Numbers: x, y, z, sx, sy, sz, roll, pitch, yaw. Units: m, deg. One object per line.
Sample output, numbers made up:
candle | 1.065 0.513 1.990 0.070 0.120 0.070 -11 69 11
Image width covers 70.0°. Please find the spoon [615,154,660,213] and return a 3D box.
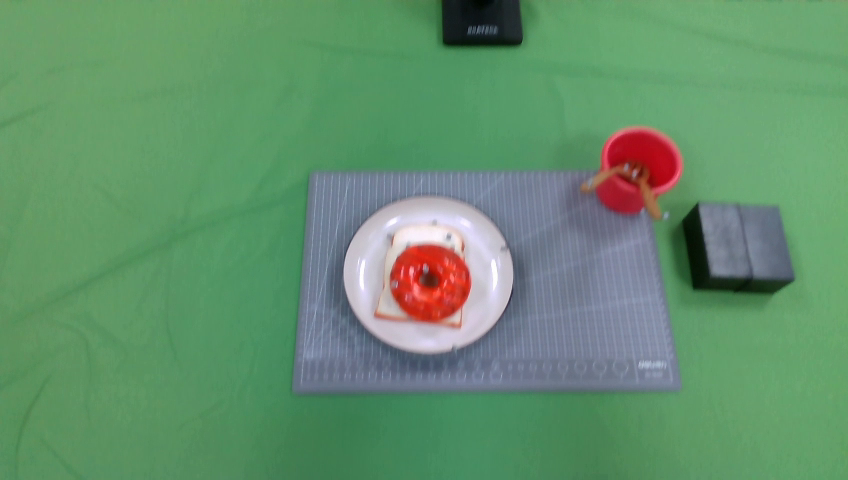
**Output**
spoon | 0.259 -0.072 0.728 0.041 0.022 0.193 7 22 8

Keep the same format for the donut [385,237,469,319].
donut | 0.003 0.043 0.704 0.099 0.048 0.098 1 71 -3

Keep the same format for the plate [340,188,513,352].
plate | 0.003 0.036 0.736 0.209 0.038 0.207 1 67 -1

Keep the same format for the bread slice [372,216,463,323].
bread slice | -0.004 0.032 0.740 0.105 0.019 0.130 6 68 0

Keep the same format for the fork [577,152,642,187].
fork | 0.224 -0.087 0.727 0.028 0.019 0.208 32 27 23
